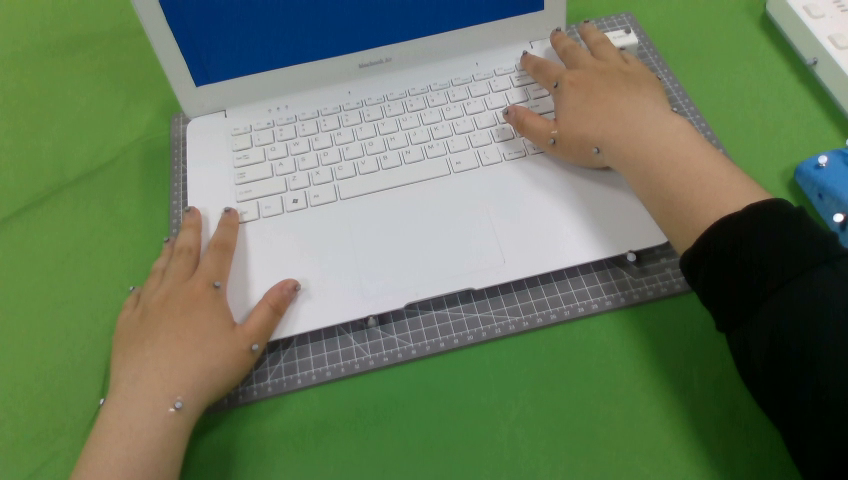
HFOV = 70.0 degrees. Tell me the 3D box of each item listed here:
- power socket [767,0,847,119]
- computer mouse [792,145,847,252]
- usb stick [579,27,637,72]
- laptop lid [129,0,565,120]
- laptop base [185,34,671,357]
[{"bbox_3d":[0.369,-0.154,0.510,0.072,0.033,0.224,-11,56,0],"label":"power socket"},{"bbox_3d":[0.319,-0.026,0.428,0.063,0.041,0.116,-14,51,0],"label":"computer mouse"},{"bbox_3d":[0.154,-0.166,0.534,0.059,0.027,0.021,-15,57,0],"label":"usb stick"},{"bbox_3d":[-0.058,-0.229,0.474,0.357,0.244,0.013,-15,44,-2],"label":"laptop lid"},{"bbox_3d":[-0.015,-0.051,0.492,0.354,0.023,0.233,-14,60,-3],"label":"laptop base"}]
